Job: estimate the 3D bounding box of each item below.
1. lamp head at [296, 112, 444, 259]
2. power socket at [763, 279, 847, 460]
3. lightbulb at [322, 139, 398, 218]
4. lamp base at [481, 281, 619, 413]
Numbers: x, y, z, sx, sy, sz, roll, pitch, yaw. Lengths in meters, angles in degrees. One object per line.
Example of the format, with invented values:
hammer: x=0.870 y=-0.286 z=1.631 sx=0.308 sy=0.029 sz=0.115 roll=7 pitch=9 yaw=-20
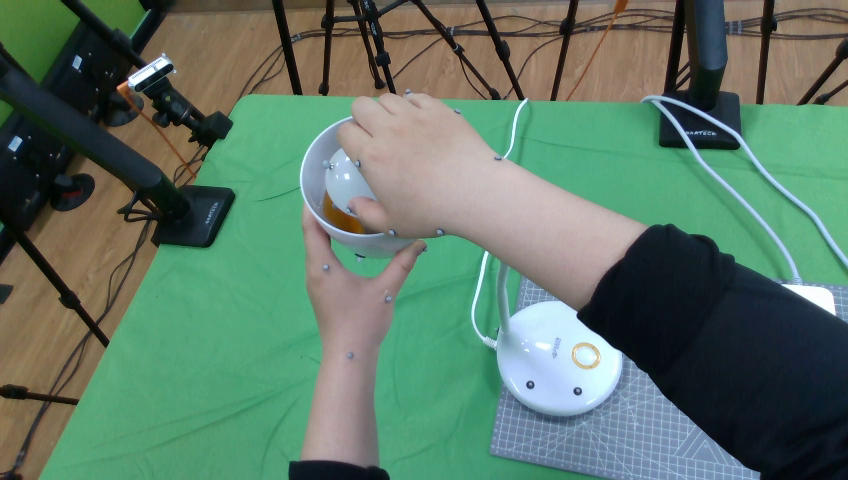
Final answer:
lamp head: x=-0.039 y=-0.033 z=0.527 sx=0.112 sy=0.124 sz=0.111 roll=-3 pitch=66 yaw=7
power socket: x=0.457 y=0.147 z=0.730 sx=0.072 sy=0.033 sz=0.225 roll=5 pitch=58 yaw=15
lightbulb: x=-0.048 y=-0.042 z=0.497 sx=0.059 sy=0.108 sz=0.059 roll=-1 pitch=74 yaw=5
lamp base: x=0.145 y=0.107 z=0.737 sx=0.178 sy=0.182 sz=0.159 roll=-1 pitch=57 yaw=16
